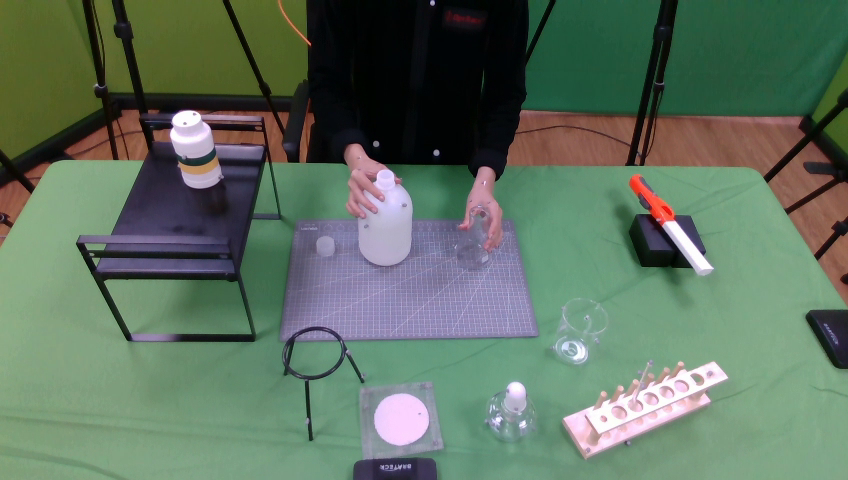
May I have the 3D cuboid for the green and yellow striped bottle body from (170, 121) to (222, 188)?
[{"bbox_3d":[-0.375,-0.149,0.995,0.063,0.120,0.063,2,46,-2],"label":"green and yellow striped bottle body"}]

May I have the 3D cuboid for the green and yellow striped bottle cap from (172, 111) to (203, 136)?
[{"bbox_3d":[-0.374,-0.185,0.957,0.045,0.020,0.045,3,45,-3],"label":"green and yellow striped bottle cap"}]

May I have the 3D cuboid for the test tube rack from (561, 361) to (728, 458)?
[{"bbox_3d":[0.341,0.248,0.940,0.243,0.085,0.066,-15,49,-18],"label":"test tube rack"}]

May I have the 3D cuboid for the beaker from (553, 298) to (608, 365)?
[{"bbox_3d":[0.260,0.154,1.015,0.073,0.101,0.084,37,54,27],"label":"beaker"}]

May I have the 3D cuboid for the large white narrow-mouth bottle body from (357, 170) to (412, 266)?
[{"bbox_3d":[-0.073,-0.047,1.115,0.102,0.195,0.101,3,47,-3],"label":"large white narrow-mouth bottle body"}]

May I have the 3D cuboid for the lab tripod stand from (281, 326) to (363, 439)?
[{"bbox_3d":[-0.166,0.203,0.913,0.148,0.132,0.147,1,47,-1],"label":"lab tripod stand"}]

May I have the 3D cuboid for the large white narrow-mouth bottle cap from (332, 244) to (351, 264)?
[{"bbox_3d":[-0.159,0.026,1.162,0.038,0.024,0.037,4,46,-4],"label":"large white narrow-mouth bottle cap"}]

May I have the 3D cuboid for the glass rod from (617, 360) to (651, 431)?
[{"bbox_3d":[0.297,0.227,0.865,0.008,0.201,0.008,-1,48,2],"label":"glass rod"}]

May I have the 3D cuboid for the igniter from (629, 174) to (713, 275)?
[{"bbox_3d":[0.481,-0.040,1.202,0.057,0.025,0.274,-2,46,-21],"label":"igniter"}]

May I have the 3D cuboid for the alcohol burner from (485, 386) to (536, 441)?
[{"bbox_3d":[0.131,0.249,0.904,0.078,0.120,0.077,1,48,-1],"label":"alcohol burner"}]

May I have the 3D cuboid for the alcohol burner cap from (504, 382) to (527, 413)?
[{"bbox_3d":[0.133,0.225,0.877,0.034,0.048,0.033,-4,47,5],"label":"alcohol burner cap"}]

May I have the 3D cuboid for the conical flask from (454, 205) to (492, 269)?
[{"bbox_3d":[0.098,-0.009,1.141,0.075,0.122,0.075,2,47,-2],"label":"conical flask"}]

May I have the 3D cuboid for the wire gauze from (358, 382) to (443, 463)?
[{"bbox_3d":[-0.039,0.277,0.937,0.121,0.011,0.124,-4,47,-7],"label":"wire gauze"}]
